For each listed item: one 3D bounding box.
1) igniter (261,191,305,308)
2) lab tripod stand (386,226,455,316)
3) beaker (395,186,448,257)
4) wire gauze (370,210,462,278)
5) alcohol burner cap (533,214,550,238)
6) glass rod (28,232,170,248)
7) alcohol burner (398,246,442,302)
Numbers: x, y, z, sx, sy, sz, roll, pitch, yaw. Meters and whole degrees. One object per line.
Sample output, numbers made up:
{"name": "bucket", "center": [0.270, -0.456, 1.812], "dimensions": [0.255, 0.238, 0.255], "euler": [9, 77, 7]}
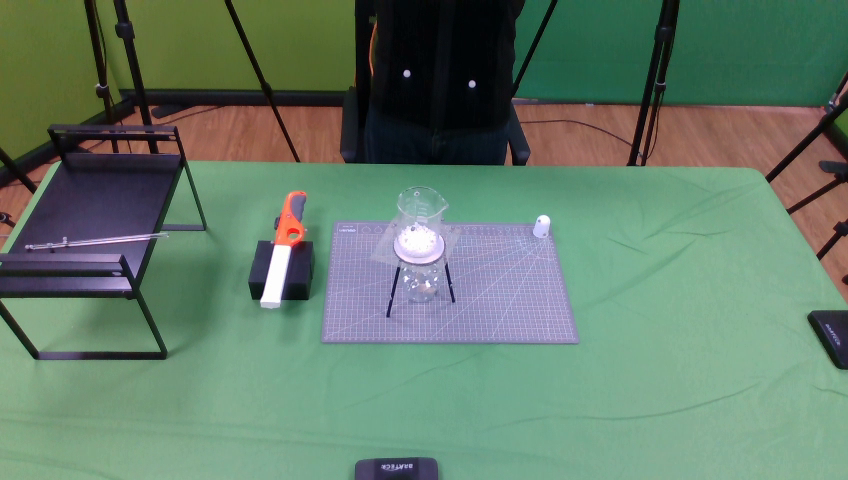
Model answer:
{"name": "igniter", "center": [-0.255, 0.007, 1.104], "dimensions": [0.057, 0.025, 0.275], "euler": [5, 47, -4]}
{"name": "lab tripod stand", "center": [-0.013, 0.054, 1.064], "dimensions": [0.148, 0.132, 0.147], "euler": [2, 48, -2]}
{"name": "beaker", "center": [-0.007, -0.027, 0.984], "dimensions": [0.084, 0.101, 0.073], "euler": [1, 48, -4]}
{"name": "wire gauze", "center": [-0.012, 0.007, 1.019], "dimensions": [0.121, 0.011, 0.124], "euler": [16, 51, 13]}
{"name": "alcohol burner cap", "center": [0.241, -0.031, 1.228], "dimensions": [0.034, 0.048, 0.033], "euler": [1, 46, -1]}
{"name": "glass rod", "center": [-0.491, -0.001, 0.919], "dimensions": [0.200, 0.008, 0.008], "euler": [-5, 47, -10]}
{"name": "alcohol burner", "center": [-0.006, 0.055, 1.078], "dimensions": [0.078, 0.119, 0.077], "euler": [3, 44, -3]}
